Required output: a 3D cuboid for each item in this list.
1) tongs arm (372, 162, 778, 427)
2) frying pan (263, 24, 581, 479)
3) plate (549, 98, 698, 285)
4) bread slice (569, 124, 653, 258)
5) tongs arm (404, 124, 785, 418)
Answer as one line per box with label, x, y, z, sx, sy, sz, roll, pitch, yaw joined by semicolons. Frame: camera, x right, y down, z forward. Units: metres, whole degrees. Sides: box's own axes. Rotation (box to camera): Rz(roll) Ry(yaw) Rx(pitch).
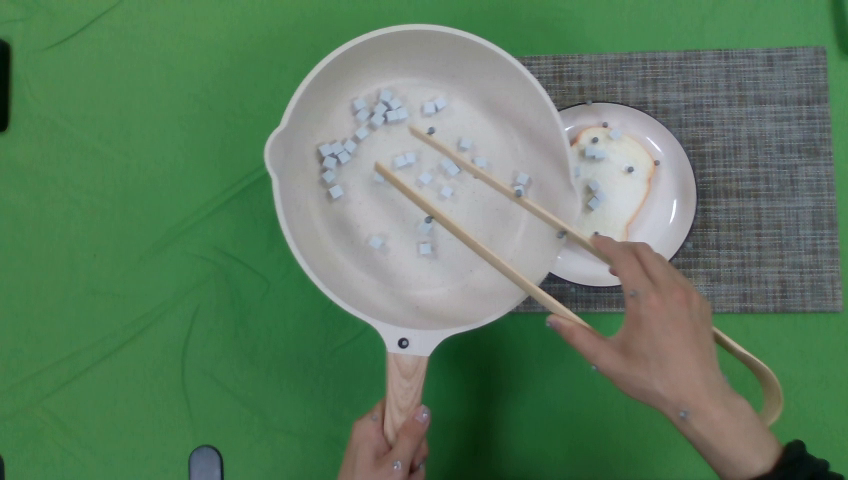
tongs arm;0.113;0.043;0.509;0.386;0.028;0.028;35;75;8
frying pan;-0.011;0.046;0.576;0.308;0.103;0.486;9;79;-12
plate;0.194;-0.053;0.678;0.207;0.039;0.207;0;85;5
bread slice;0.192;-0.061;0.681;0.107;0.018;0.134;23;90;5
tongs arm;0.131;0.020;0.514;0.384;0.026;0.050;33;79;8
